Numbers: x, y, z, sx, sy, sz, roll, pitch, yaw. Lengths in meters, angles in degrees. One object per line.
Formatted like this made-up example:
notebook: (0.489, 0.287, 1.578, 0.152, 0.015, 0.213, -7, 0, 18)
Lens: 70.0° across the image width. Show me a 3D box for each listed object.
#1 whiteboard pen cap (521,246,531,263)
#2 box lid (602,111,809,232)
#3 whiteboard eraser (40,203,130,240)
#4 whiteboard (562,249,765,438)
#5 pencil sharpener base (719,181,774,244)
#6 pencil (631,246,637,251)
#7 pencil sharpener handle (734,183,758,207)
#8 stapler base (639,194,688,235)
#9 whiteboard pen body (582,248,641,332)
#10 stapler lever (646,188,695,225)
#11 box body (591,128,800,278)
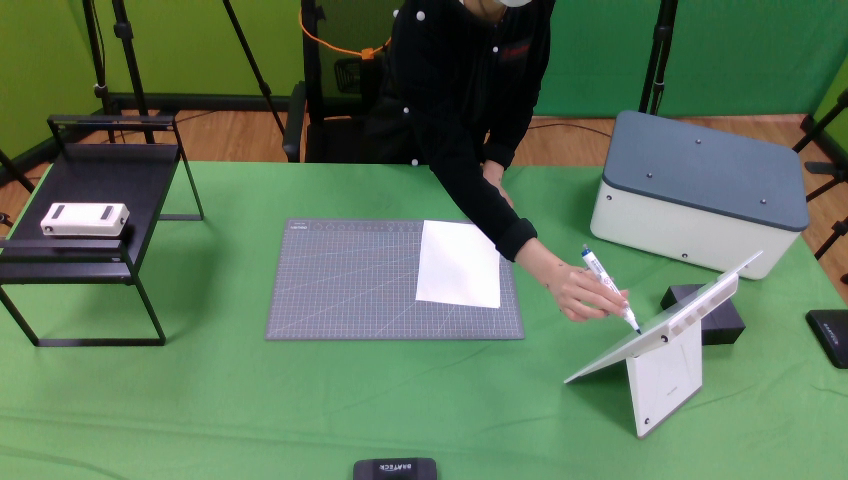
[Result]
whiteboard pen cap: (0.200, 0.029, 1.188, 0.018, 0.018, 0.033, 15, 47, 9)
box lid: (0.545, -0.143, 1.176, 0.371, 0.015, 0.262, 15, 47, 11)
whiteboard eraser: (-0.513, -0.028, 0.922, 0.113, 0.042, 0.055, 1, 48, -3)
whiteboard: (0.386, 0.175, 0.905, 0.217, 0.306, 0.143, -26, 72, -26)
pencil sharpener base: (0.652, -0.056, 1.232, 0.061, 0.107, 0.076, 11, 46, 6)
pencil: (0.431, -0.060, 1.284, 0.012, 0.012, 0.193, 3, 57, -2)
pencil sharpener handle: (0.663, -0.100, 1.259, 0.036, 0.068, 0.030, 10, 46, 6)
stapler base: (0.510, -0.059, 1.278, 0.041, 0.024, 0.129, 0, 39, -30)
whiteboard pen body: (0.269, 0.072, 0.862, 0.017, 0.017, 0.140, -32, 86, -29)
stapler lever: (0.515, -0.078, 1.265, 0.027, 0.040, 0.117, -1, 41, -30)
box body: (0.540, -0.092, 1.229, 0.363, 0.161, 0.253, 16, 47, 11)
